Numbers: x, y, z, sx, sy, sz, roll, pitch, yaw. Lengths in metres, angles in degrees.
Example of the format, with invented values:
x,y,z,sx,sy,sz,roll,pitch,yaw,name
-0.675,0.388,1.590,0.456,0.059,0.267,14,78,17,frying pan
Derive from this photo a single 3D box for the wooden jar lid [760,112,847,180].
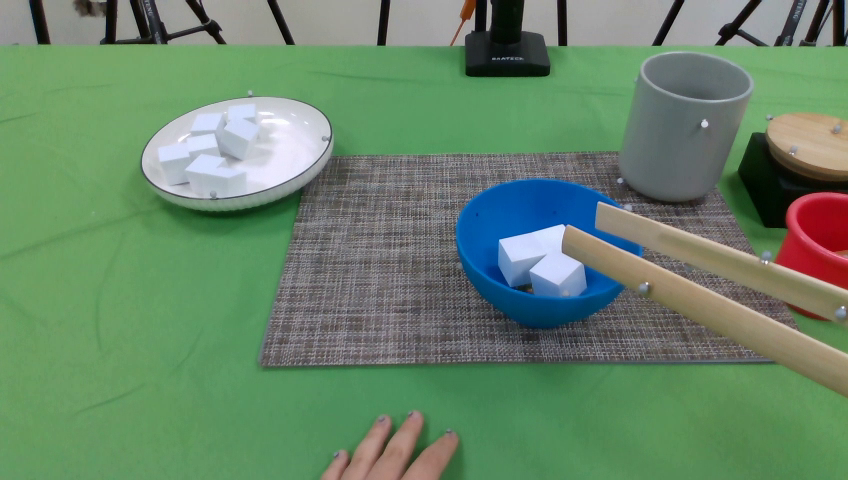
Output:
x,y,z,sx,sy,sz,roll,pitch,yaw,name
0.398,-0.095,0.614,0.108,0.021,0.107,-1,42,1,wooden jar lid

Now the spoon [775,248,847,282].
x,y,z,sx,sy,sz,roll,pitch,yaw,name
0.385,0.000,0.492,0.022,0.193,0.041,44,42,-20,spoon

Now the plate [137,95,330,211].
x,y,z,sx,sy,sz,roll,pitch,yaw,name
-0.209,-0.097,0.682,0.209,0.038,0.207,-1,42,1,plate

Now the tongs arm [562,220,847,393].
x,y,z,sx,sy,sz,roll,pitch,yaw,name
0.240,0.070,0.323,0.384,0.028,0.028,28,41,35,tongs arm

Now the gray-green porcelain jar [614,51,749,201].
x,y,z,sx,sy,sz,roll,pitch,yaw,name
0.257,-0.112,0.625,0.106,0.127,0.105,0,42,1,gray-green porcelain jar

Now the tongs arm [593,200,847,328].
x,y,z,sx,sy,sz,roll,pitch,yaw,name
0.258,0.058,0.338,0.381,0.027,0.051,25,43,32,tongs arm

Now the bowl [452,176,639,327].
x,y,z,sx,sy,sz,roll,pitch,yaw,name
0.098,0.021,0.516,0.151,0.077,0.150,0,42,0,bowl
